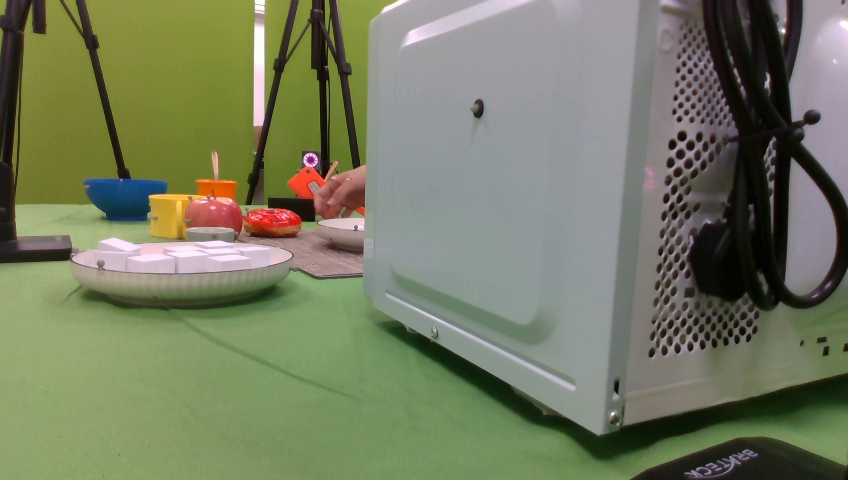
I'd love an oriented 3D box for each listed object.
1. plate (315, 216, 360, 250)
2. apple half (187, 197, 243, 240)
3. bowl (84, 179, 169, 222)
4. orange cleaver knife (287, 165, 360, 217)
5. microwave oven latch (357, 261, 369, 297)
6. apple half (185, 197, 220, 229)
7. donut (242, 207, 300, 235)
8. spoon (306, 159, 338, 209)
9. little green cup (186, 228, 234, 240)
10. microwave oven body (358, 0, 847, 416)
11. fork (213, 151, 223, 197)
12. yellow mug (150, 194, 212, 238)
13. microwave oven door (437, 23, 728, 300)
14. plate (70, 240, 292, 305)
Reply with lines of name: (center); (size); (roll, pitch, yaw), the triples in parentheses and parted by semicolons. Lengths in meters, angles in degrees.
plate: (-0.068, -0.010, 0.963); (0.209, 0.038, 0.209); (3, 8, 0)
apple half: (-0.305, -0.026, 0.907); (0.053, 0.074, 0.081); (12, 8, 31)
bowl: (-0.584, -0.078, 1.194); (0.151, 0.077, 0.151); (3, 8, 0)
orange cleaver knife: (-0.210, -0.093, 1.382); (0.212, 0.077, 0.012); (33, 1, -15)
microwave oven latch: (-0.019, 0.033, 0.531); (0.079, 0.029, 0.030); (-1, 7, -27)
apple half: (-0.338, -0.031, 0.927); (0.032, 0.081, 0.081); (12, 12, 31)
donut: (-0.263, -0.031, 1.039); (0.099, 0.048, 0.099); (4, 9, 0)
spoon: (-0.257, -0.147, 1.567); (0.041, 0.022, 0.193); (2, 51, 19)
little green cup: (-0.284, 0.005, 0.805); (0.061, 0.038, 0.061); (2, 8, 0)
microwave oven body: (0.211, -0.047, 0.475); (0.444, 0.260, 0.324); (-1, 7, -28)
fork: (-0.494, -0.143, 1.442); (0.028, 0.018, 0.206); (-2, 52, -20)
yellow mug: (-0.401, -0.040, 1.003); (0.100, 0.064, 0.130); (0, 9, -20)
microwave oven door: (0.181, -0.072, 0.621); (0.358, 0.243, 0.039); (-2, 8, -29)
plate: (-0.242, 0.031, 0.618); (0.208, 0.039, 0.207); (2, 8, 0)
